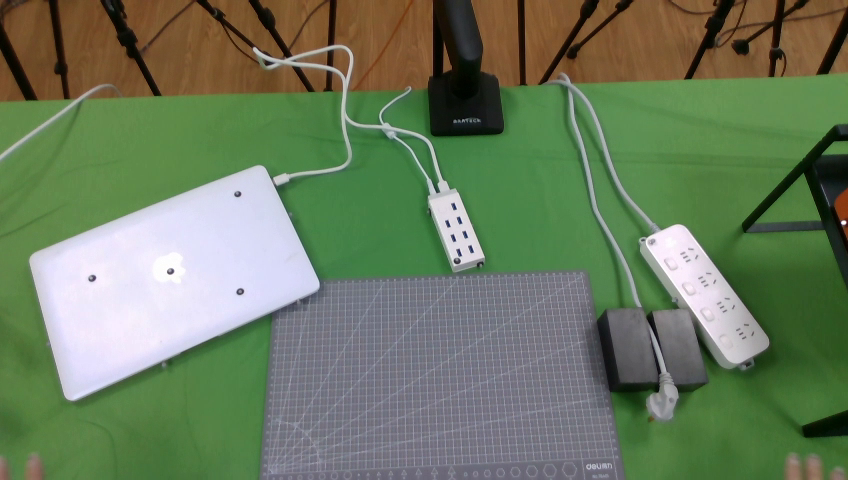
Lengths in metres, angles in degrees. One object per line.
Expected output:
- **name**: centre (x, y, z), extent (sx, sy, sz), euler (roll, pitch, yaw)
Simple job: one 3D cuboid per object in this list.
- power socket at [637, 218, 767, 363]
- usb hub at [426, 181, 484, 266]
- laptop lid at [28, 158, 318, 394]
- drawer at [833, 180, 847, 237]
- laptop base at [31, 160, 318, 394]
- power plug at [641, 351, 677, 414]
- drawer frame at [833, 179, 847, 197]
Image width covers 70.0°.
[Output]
- **power socket**: centre (0.387, 0.066, 0.849), extent (0.072, 0.033, 0.224), euler (-22, 66, -12)
- **usb hub**: centre (0.043, -0.026, 0.894), extent (0.049, 0.025, 0.124), euler (-16, 65, -8)
- **laptop lid**: centre (-0.352, 0.036, 0.850), extent (0.357, 0.013, 0.239), euler (-23, 68, -11)
- **drawer**: centre (0.587, 0.013, 0.651), extent (0.212, 0.074, 0.193), euler (-2, 64, -2)
- **laptop base**: centre (-0.354, 0.039, 0.862), extent (0.354, 0.023, 0.233), euler (-25, 69, -12)
- **power plug**: centre (0.297, 0.186, 0.766), extent (0.035, 0.053, 0.072), euler (28, 47, -5)
- **drawer frame**: centre (0.591, 0.011, 0.651), extent (0.214, 0.083, 0.200), euler (-3, 64, -3)
